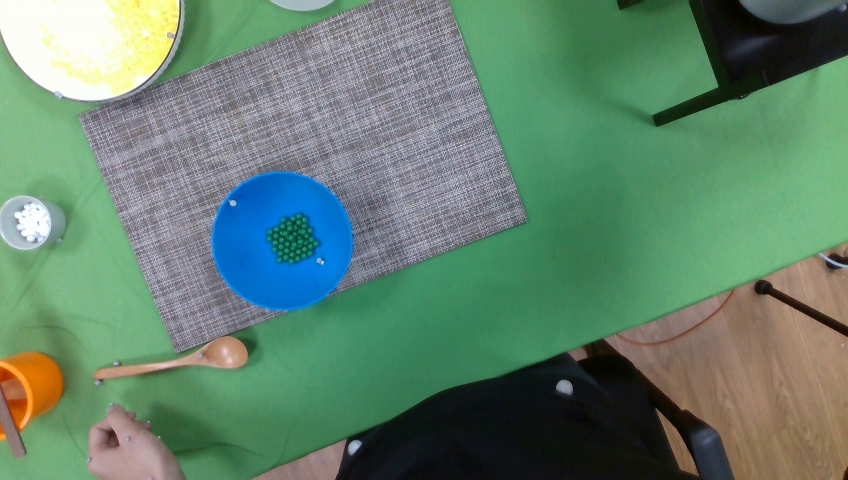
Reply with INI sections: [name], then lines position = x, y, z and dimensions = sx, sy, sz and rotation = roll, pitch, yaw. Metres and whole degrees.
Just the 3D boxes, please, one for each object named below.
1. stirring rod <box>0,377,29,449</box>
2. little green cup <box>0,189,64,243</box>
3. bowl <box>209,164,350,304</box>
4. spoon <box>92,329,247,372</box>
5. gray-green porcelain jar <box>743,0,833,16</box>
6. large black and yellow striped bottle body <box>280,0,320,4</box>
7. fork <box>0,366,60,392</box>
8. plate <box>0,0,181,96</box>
[stirring rod]
position = -0.468, 0.146, 0.656
dimensions = 0.014, 0.006, 0.176
rotation = -20, 95, 2
[little green cup]
position = -0.453, -0.028, 0.699
dimensions = 0.061, 0.038, 0.061
rotation = 0, 95, 0
[bowl]
position = -0.153, -0.008, 0.681
dimensions = 0.151, 0.076, 0.151
rotation = 0, 95, 0
[spoon]
position = -0.305, 0.137, 0.723
dimensions = 0.194, 0.021, 0.042
rotation = -10, 108, 0
[gray-green porcelain jar]
position = 0.308, -0.239, 0.468
dimensions = 0.106, 0.126, 0.106
rotation = 0, 94, 0
[large black and yellow striped bottle body]
position = -0.142, -0.328, 0.605
dimensions = 0.131, 0.183, 0.131
rotation = 0, 94, 0
[fork]
position = -0.518, 0.168, 0.660
dimensions = 0.208, 0.018, 0.028
rotation = -5, 98, -44
[plate]
position = -0.374, -0.265, 0.681
dimensions = 0.209, 0.038, 0.209
rotation = 0, 95, -1
